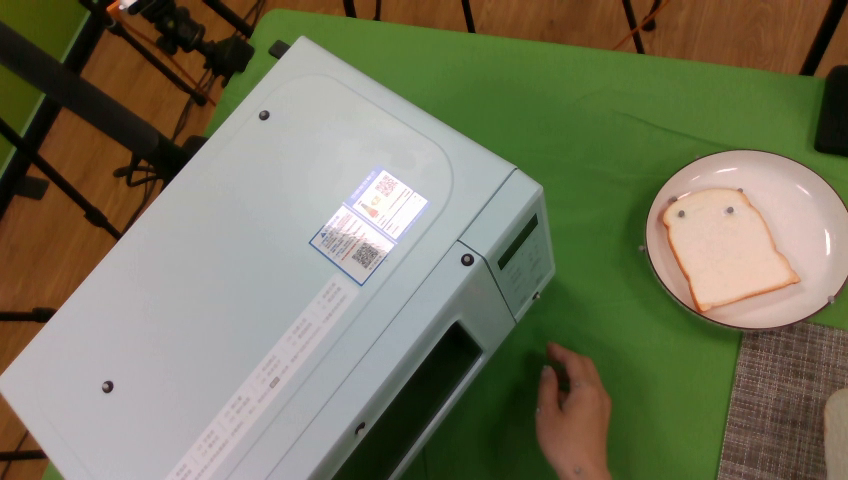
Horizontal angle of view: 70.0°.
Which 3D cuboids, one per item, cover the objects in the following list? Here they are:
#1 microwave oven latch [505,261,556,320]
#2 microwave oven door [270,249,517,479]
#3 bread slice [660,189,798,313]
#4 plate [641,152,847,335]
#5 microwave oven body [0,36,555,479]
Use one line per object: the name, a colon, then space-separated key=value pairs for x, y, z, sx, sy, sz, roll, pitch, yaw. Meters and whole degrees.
microwave oven latch: x=0.118 y=0.052 z=0.687 sx=0.030 sy=0.030 sz=0.079 roll=38 pitch=84 yaw=23
microwave oven door: x=-0.045 y=0.185 z=0.569 sx=0.039 sy=0.246 sz=0.355 roll=35 pitch=82 yaw=24
bread slice: x=0.323 y=0.008 z=0.667 sx=0.107 sy=0.018 sz=0.133 roll=-21 pitch=65 yaw=3
plate: x=0.346 y=0.004 z=0.664 sx=0.207 sy=0.039 sz=0.206 roll=-5 pitch=69 yaw=13
microwave oven body: x=-0.126 y=0.076 z=0.636 sx=0.323 sy=0.262 sz=0.441 roll=36 pitch=83 yaw=23
